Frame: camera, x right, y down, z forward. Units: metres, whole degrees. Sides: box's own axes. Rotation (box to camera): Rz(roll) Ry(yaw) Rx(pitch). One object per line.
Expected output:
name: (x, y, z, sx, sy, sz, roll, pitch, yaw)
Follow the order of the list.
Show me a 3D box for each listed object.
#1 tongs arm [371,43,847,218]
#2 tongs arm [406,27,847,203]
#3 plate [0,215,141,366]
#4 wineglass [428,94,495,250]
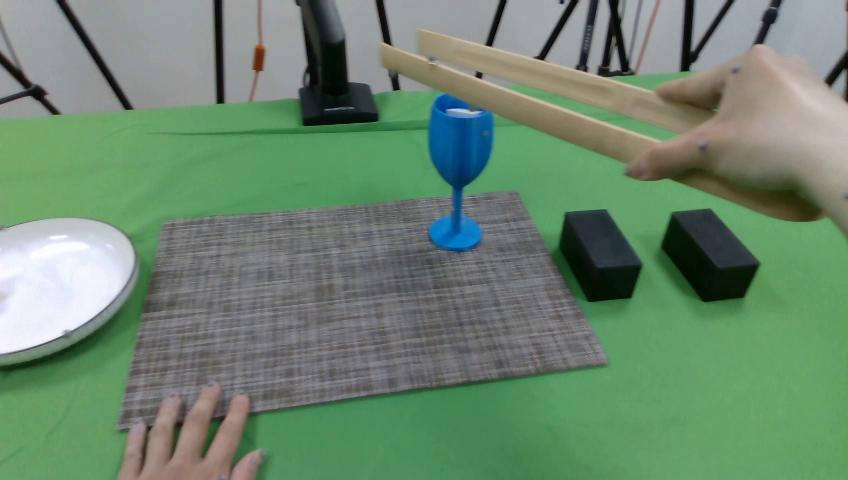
tongs arm: (0.100, -0.100, 0.459, 0.051, 0.027, 0.381, -32, 47, -31)
tongs arm: (0.121, -0.115, 0.475, 0.384, 0.028, 0.028, 30, 46, 34)
plate: (-0.399, 0.050, 0.621, 0.209, 0.038, 0.207, 1, 39, -1)
wineglass: (0.039, -0.076, 0.681, 0.074, 0.174, 0.073, 1, 40, 0)
